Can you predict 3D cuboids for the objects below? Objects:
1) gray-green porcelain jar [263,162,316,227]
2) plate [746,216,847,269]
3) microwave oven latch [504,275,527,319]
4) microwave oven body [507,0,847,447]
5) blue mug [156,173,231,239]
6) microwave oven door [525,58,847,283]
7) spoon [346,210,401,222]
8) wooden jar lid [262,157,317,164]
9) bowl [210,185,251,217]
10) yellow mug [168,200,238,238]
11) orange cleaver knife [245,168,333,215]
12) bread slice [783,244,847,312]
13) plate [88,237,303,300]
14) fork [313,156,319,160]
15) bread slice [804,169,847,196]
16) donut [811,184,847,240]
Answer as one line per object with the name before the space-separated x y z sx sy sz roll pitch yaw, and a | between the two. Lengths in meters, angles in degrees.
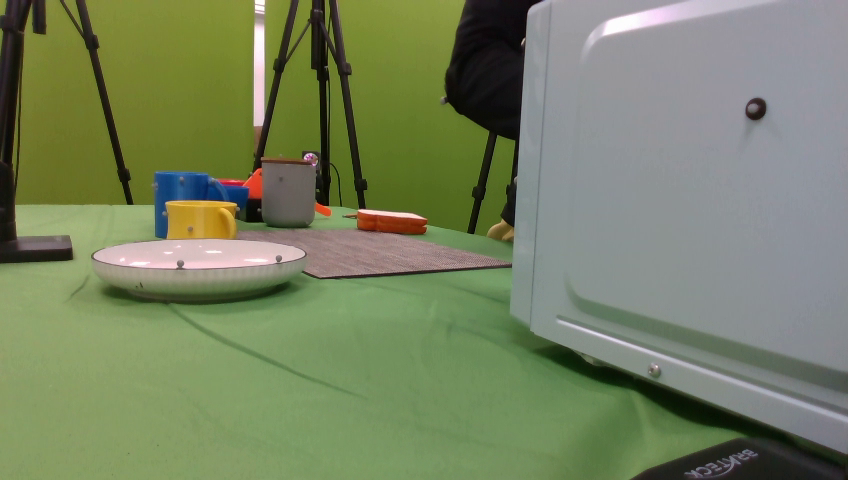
gray-green porcelain jar | -0.271 -0.092 1.218 0.106 0.126 0.106 2 7 0
plate | 0.362 0.002 0.462 0.209 0.038 0.209 1 3 0
microwave oven latch | 0.100 0.042 0.470 0.079 0.029 0.030 -1 7 -27
microwave oven body | 0.331 -0.042 0.425 0.444 0.260 0.324 -2 8 -31
blue mug | -0.381 -0.057 1.004 0.117 0.106 0.082 1 8 -12
microwave oven door | 0.300 -0.089 0.748 0.354 0.243 0.039 6 9 32
spoon | -0.121 -0.060 1.400 0.042 0.021 0.192 -27 24 -38
wooden jar lid | -0.269 -0.154 1.208 0.108 0.020 0.108 3 4 0
bowl | -0.408 -0.064 1.155 0.151 0.077 0.151 2 8 0
yellow mug | -0.319 -0.023 0.904 0.130 0.064 0.100 9 11 36
orange cleaver knife | -0.300 -0.089 1.352 0.212 0.077 0.012 28 -9 -34
bread slice | 0.371 0.021 0.472 0.132 0.019 0.104 -24 13 -13
plate | -0.233 0.029 0.636 0.208 0.039 0.207 2 7 0
fork | -0.331 -0.144 1.506 0.207 0.018 0.028 -42 -18 22
bread slice | 0.363 -0.050 0.453 0.135 0.018 0.106 -9 2 -23
donut | 0.353 -0.026 0.463 0.099 0.048 0.099 -11 3 1
